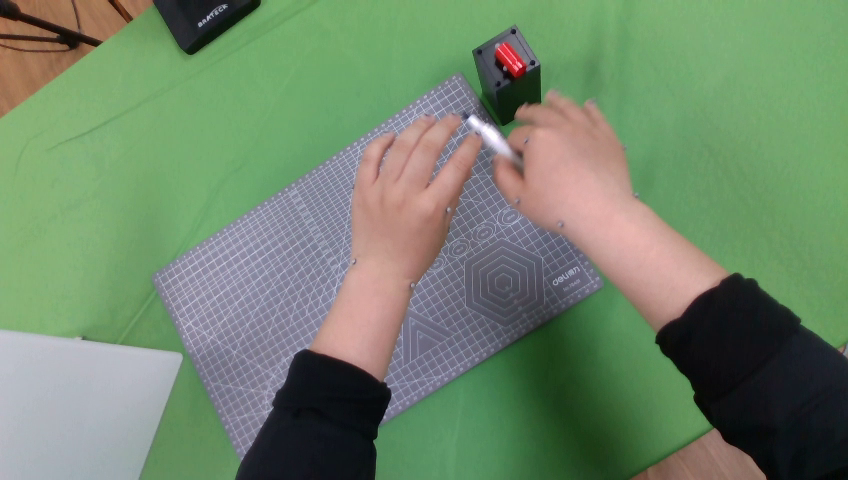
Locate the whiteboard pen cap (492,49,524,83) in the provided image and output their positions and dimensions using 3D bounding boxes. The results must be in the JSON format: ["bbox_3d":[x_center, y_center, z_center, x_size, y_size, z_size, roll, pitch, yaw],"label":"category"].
[{"bbox_3d":[0.083,-0.171,0.594,0.017,0.017,0.032,-39,78,3],"label":"whiteboard pen cap"}]

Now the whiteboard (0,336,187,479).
[{"bbox_3d":[-0.446,0.190,0.624,0.143,0.308,0.217,16,84,33],"label":"whiteboard"}]

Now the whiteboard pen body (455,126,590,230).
[{"bbox_3d":[0.080,-0.055,0.509,0.140,0.017,0.017,39,90,12],"label":"whiteboard pen body"}]
